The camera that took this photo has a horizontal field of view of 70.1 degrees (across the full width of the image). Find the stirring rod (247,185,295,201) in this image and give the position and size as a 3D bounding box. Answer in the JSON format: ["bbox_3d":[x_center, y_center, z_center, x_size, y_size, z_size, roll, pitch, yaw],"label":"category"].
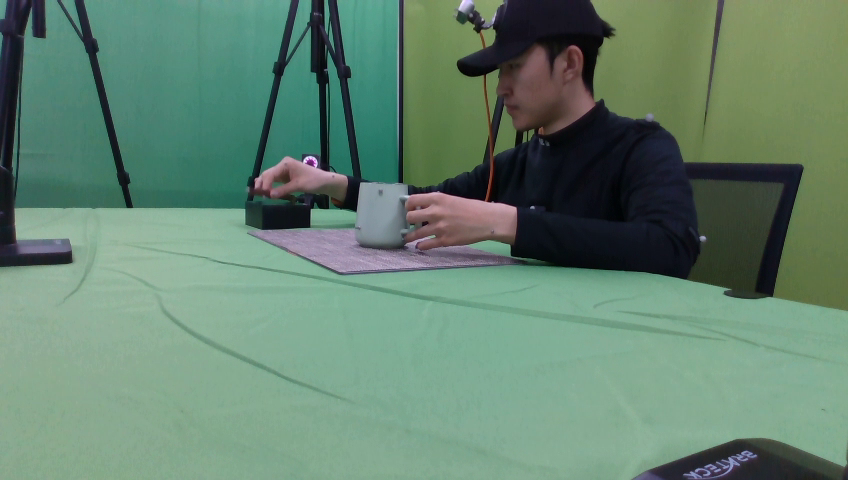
[{"bbox_3d":[-0.310,-0.096,1.242,0.006,0.014,0.176,-5,-4,17],"label":"stirring rod"}]

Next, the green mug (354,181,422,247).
[{"bbox_3d":[-0.055,-0.042,0.988,0.125,0.105,0.093,7,8,35],"label":"green mug"}]
